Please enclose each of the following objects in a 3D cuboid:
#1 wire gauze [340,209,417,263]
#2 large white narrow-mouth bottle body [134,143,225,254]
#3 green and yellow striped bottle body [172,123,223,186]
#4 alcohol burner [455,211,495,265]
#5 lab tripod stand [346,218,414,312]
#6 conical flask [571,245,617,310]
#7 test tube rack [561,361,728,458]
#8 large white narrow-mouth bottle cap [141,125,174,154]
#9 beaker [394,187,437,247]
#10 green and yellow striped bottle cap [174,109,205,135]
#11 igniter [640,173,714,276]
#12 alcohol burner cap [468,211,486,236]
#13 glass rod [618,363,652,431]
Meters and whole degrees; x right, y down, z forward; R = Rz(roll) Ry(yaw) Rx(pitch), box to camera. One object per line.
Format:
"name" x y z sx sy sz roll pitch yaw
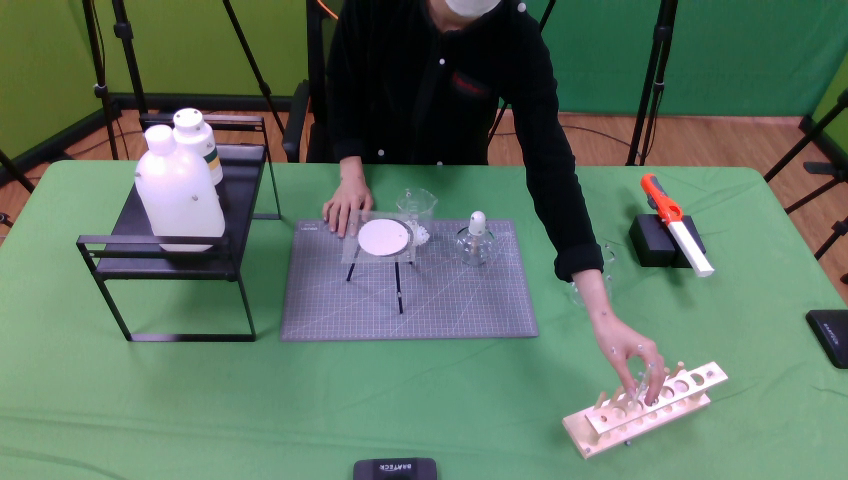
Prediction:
"wire gauze" -0.074 -0.006 1.023 0.121 0.011 0.124 3 46 0
"large white narrow-mouth bottle body" -0.357 -0.075 0.875 0.102 0.195 0.101 1 47 -1
"green and yellow striped bottle body" -0.373 -0.148 0.994 0.063 0.120 0.063 2 46 -2
"alcohol burner" 0.097 -0.009 1.147 0.078 0.120 0.077 0 47 0
"lab tripod stand" -0.070 0.038 1.075 0.148 0.132 0.147 1 47 -1
"conical flask" 0.313 0.064 1.089 0.075 0.122 0.075 2 46 -2
"test tube rack" 0.341 0.248 0.940 0.243 0.085 0.066 -15 49 -18
"large white narrow-mouth bottle cap" -0.356 -0.134 0.811 0.038 0.024 0.037 1 47 -1
"beaker" -0.018 -0.042 1.180 0.084 0.101 0.073 -9 48 -13
"green and yellow striped bottle cap" -0.369 -0.186 0.954 0.045 0.020 0.045 3 49 -3
"igniter" 0.495 -0.039 1.204 0.057 0.025 0.274 -2 47 -12
"alcohol burner cap" 0.100 -0.033 1.120 0.034 0.048 0.033 -1 52 1
"glass rod" 0.299 0.228 0.864 0.008 0.201 0.008 -1 48 2
